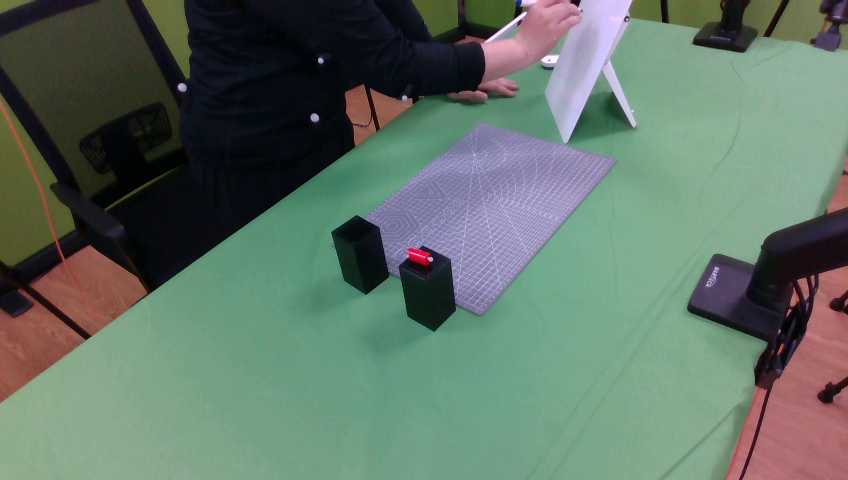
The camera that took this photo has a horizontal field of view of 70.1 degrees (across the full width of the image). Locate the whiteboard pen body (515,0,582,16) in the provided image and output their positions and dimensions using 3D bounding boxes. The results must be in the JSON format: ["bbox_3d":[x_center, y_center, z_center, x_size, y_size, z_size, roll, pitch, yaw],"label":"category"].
[{"bbox_3d":[0.227,-0.418,1.094,0.141,0.017,0.016,-1,36,-22],"label":"whiteboard pen body"}]

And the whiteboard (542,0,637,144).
[{"bbox_3d":[0.366,-0.351,1.160,0.144,0.305,0.216,9,39,-10],"label":"whiteboard"}]

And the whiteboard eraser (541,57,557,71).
[{"bbox_3d":[0.324,-0.412,1.408,0.101,0.019,0.041,2,43,11],"label":"whiteboard eraser"}]

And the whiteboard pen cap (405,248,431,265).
[{"bbox_3d":[-0.008,0.021,0.794,0.032,0.017,0.017,16,46,28],"label":"whiteboard pen cap"}]
